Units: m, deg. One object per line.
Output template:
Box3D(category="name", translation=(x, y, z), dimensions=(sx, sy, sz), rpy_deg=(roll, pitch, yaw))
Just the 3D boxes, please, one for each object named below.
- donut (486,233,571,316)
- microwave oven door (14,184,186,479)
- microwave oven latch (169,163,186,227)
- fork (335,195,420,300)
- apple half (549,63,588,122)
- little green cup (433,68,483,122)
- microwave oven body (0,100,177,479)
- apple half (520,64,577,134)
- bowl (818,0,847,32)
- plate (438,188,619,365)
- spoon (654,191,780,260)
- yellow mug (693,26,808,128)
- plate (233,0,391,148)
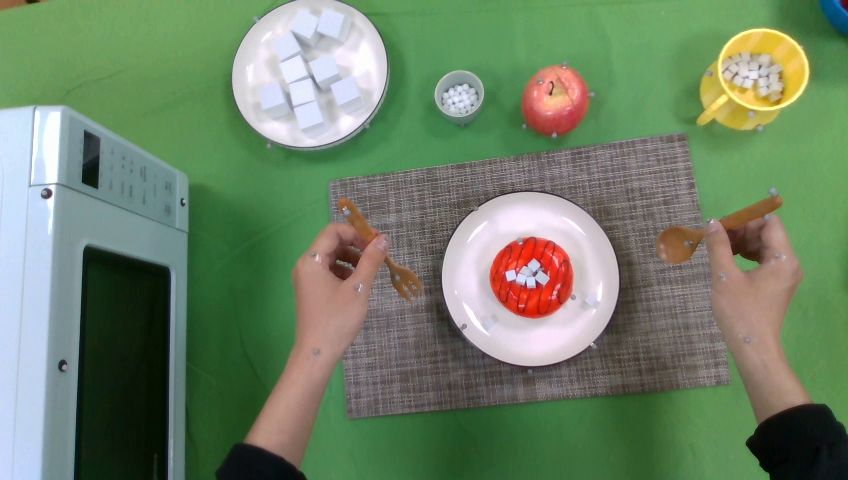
Box3D(category="donut", translation=(0.122, 0.040, 0.706), dimensions=(0.099, 0.048, 0.098), rpy_deg=(-1, 82, 8))
Box3D(category="microwave oven door", translation=(-0.324, 0.142, 0.633), dimensions=(0.039, 0.245, 0.354), rpy_deg=(-4, 80, 6))
Box3D(category="microwave oven latch", translation=(-0.320, -0.056, 0.769), dimensions=(0.030, 0.029, 0.079), rpy_deg=(-3, 81, 6))
Box3D(category="fork", translation=(-0.043, 0.013, 0.605), dimensions=(0.028, 0.209, 0.018), rpy_deg=(-30, 59, 1))
Box3D(category="apple half", translation=(0.179, -0.182, 0.732), dimensions=(0.033, 0.081, 0.081), rpy_deg=(-28, 78, 6))
Box3D(category="little green cup", translation=(0.044, -0.181, 0.766), dimensions=(0.061, 0.039, 0.061), rpy_deg=(-1, 80, 7))
Box3D(category="microwave oven body", translation=(-0.470, 0.111, 0.660), dimensions=(0.326, 0.261, 0.440), rpy_deg=(-4, 81, 5))
Box3D(category="apple half", translation=(0.145, -0.163, 0.735), dimensions=(0.053, 0.075, 0.080), rpy_deg=(-28, 82, 6))
Box3D(category="bowl", translation=(0.528, -0.296, 0.709), dimensions=(0.151, 0.077, 0.151), rpy_deg=(-1, 81, 7))
Box3D(category="plate", translation=(0.121, 0.042, 0.717), dimensions=(0.209, 0.038, 0.208), rpy_deg=(-1, 81, 7))
Box3D(category="spoon", translation=(0.280, -0.012, 0.596), dimensions=(0.021, 0.194, 0.041), rpy_deg=(-16, 80, -8))
Box3D(category="yellow mug", translation=(0.373, -0.181, 0.714), dimensions=(0.131, 0.064, 0.099), rpy_deg=(-38, 79, 0))
Box3D(category="plate", translation=(-0.144, -0.217, 0.793), dimensions=(0.207, 0.039, 0.207), rpy_deg=(-1, 81, 7))
